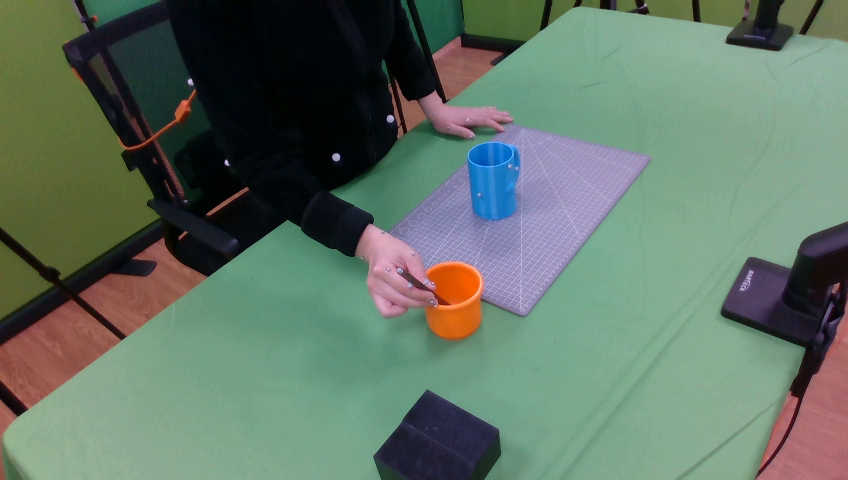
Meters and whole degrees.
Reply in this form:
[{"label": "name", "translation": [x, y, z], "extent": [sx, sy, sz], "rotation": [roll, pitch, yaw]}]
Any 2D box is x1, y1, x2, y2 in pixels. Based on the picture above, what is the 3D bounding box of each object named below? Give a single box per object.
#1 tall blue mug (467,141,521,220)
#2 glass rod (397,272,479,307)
[{"label": "tall blue mug", "translation": [0.120, -0.109, 1.020], "extent": [0.077, 0.108, 0.107], "rotation": [3, 42, 15]}, {"label": "glass rod", "translation": [0.023, 0.068, 0.791], "extent": [0.008, 0.201, 0.008], "rotation": [-12, 68, 31]}]
